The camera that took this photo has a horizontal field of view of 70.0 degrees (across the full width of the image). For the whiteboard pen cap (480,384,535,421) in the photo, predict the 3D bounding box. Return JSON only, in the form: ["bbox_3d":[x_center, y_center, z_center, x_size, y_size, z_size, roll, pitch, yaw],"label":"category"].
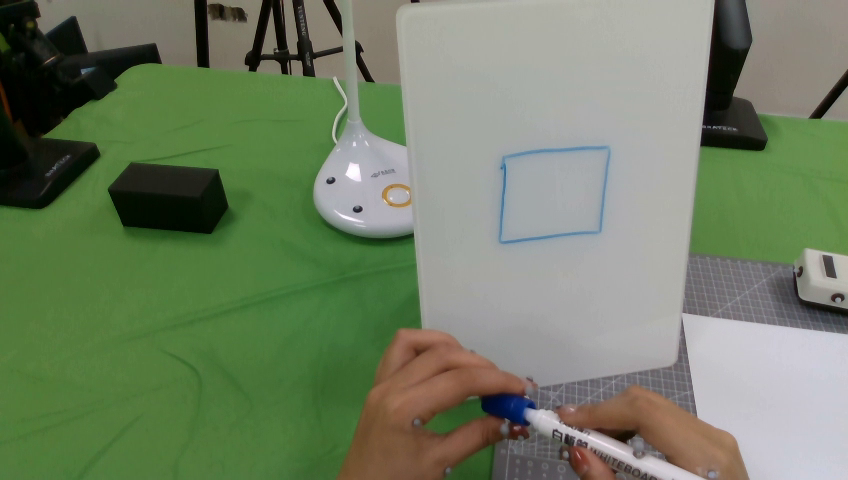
[{"bbox_3d":[0.052,0.100,0.375,0.033,0.018,0.018,5,36,42],"label":"whiteboard pen cap"}]

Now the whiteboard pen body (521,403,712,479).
[{"bbox_3d":[0.103,0.115,0.332,0.139,0.017,0.017,16,42,41],"label":"whiteboard pen body"}]

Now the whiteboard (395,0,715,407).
[{"bbox_3d":[0.089,-0.044,0.506,0.217,0.307,0.142,-7,23,-7],"label":"whiteboard"}]

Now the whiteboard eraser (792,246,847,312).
[{"bbox_3d":[0.404,0.043,0.559,0.112,0.042,0.055,12,42,13],"label":"whiteboard eraser"}]

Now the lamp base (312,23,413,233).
[{"bbox_3d":[-0.055,-0.126,0.648,0.161,0.182,0.177,-27,46,-27],"label":"lamp base"}]
